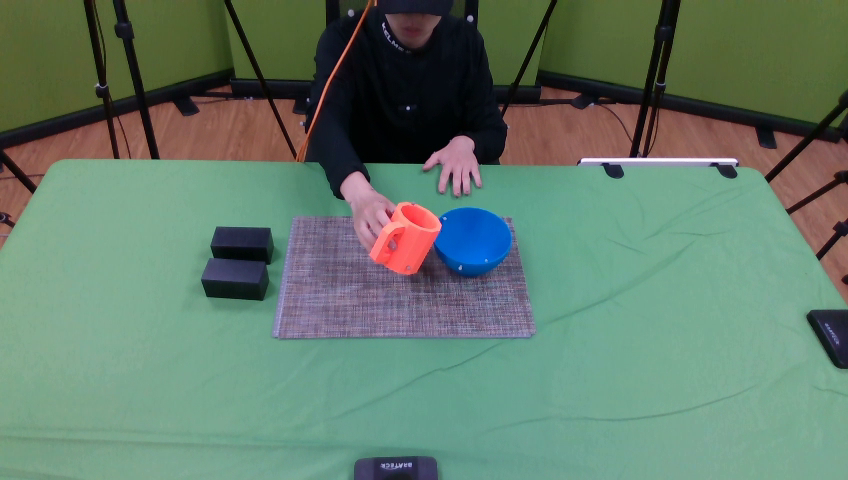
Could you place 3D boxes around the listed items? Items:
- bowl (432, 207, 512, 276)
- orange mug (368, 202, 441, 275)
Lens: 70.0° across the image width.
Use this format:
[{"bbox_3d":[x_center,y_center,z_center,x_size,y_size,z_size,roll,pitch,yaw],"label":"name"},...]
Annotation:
[{"bbox_3d":[0.086,0.016,1.147,0.151,0.077,0.150,2,46,-2],"label":"bowl"},{"bbox_3d":[-0.040,-0.002,1.036,0.083,0.101,0.126,41,24,23],"label":"orange mug"}]
